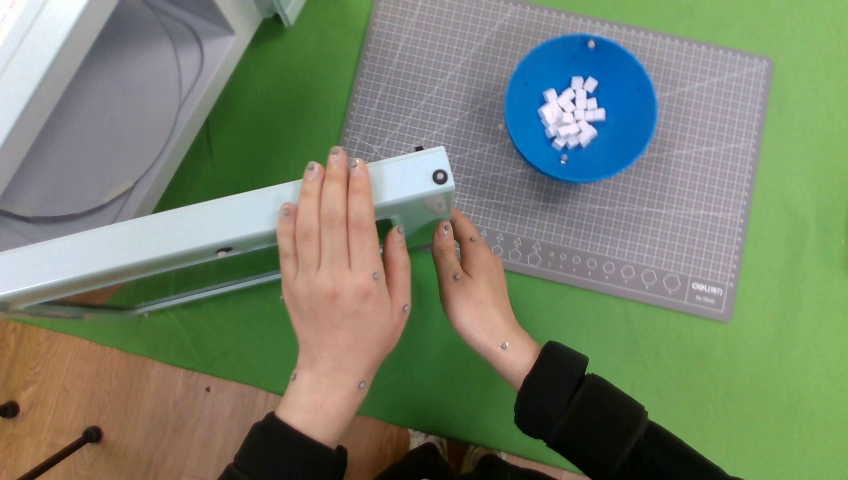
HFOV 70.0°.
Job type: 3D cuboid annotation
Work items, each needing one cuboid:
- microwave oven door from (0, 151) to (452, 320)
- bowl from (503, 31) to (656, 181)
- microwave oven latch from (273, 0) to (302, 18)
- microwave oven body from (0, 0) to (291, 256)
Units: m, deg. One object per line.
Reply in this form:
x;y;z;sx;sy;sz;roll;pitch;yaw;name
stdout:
-0.153;0.007;0.514;0.356;0.244;0.039;-14;82;-2;microwave oven door
0.152;-0.128;0.628;0.151;0.077;0.151;0;83;0;bowl
-0.136;-0.282;0.651;0.030;0.029;0.079;28;84;3;microwave oven latch
-0.350;-0.207;0.544;0.326;0.260;0.441;27;84;3;microwave oven body
